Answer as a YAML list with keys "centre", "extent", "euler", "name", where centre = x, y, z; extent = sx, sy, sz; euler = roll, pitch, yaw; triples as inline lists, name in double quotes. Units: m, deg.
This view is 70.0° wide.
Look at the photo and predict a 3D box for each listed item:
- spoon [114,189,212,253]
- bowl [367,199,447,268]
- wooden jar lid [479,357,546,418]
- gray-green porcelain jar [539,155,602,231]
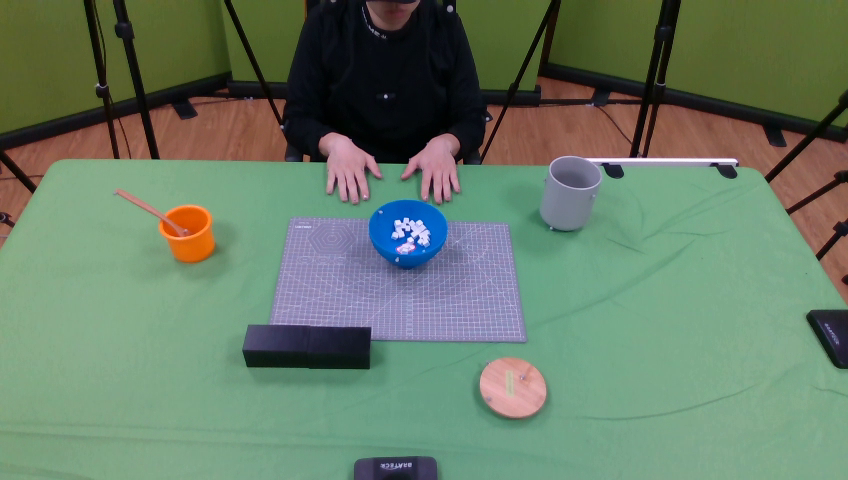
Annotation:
- centre: [-0.475, -0.037, 1.109]
  extent: [0.021, 0.195, 0.041]
  euler: [-29, 34, 31]
  name: "spoon"
- centre: [-0.033, 0.000, 1.152]
  extent: [0.151, 0.077, 0.150]
  euler: [2, 46, -2]
  name: "bowl"
- centre: [0.142, 0.240, 0.979]
  extent: [0.108, 0.021, 0.107]
  euler: [1, 46, -1]
  name: "wooden jar lid"
- centre: [0.294, -0.091, 1.235]
  extent: [0.106, 0.127, 0.105]
  euler: [2, 46, -2]
  name: "gray-green porcelain jar"
